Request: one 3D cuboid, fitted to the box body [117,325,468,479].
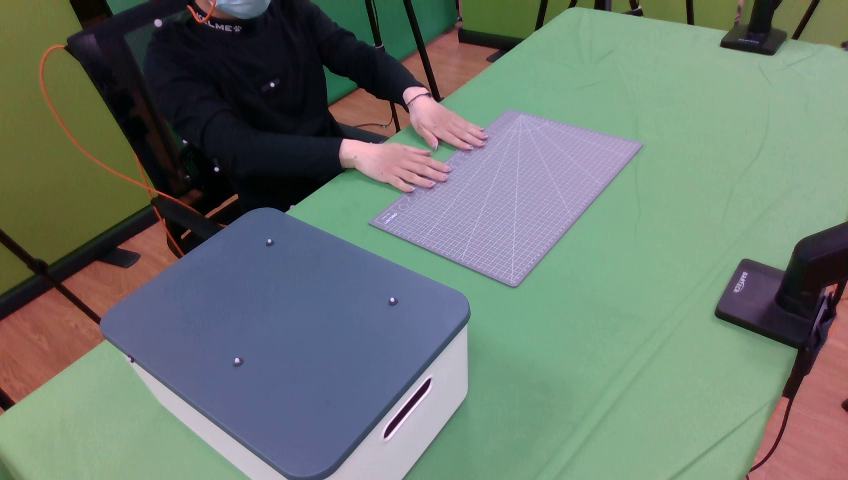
[{"bbox_3d":[-0.151,0.140,0.721,0.361,0.161,0.255,22,49,30],"label":"box body"}]

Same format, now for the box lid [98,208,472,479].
[{"bbox_3d":[-0.161,0.083,0.675,0.368,0.015,0.264,22,48,30],"label":"box lid"}]
